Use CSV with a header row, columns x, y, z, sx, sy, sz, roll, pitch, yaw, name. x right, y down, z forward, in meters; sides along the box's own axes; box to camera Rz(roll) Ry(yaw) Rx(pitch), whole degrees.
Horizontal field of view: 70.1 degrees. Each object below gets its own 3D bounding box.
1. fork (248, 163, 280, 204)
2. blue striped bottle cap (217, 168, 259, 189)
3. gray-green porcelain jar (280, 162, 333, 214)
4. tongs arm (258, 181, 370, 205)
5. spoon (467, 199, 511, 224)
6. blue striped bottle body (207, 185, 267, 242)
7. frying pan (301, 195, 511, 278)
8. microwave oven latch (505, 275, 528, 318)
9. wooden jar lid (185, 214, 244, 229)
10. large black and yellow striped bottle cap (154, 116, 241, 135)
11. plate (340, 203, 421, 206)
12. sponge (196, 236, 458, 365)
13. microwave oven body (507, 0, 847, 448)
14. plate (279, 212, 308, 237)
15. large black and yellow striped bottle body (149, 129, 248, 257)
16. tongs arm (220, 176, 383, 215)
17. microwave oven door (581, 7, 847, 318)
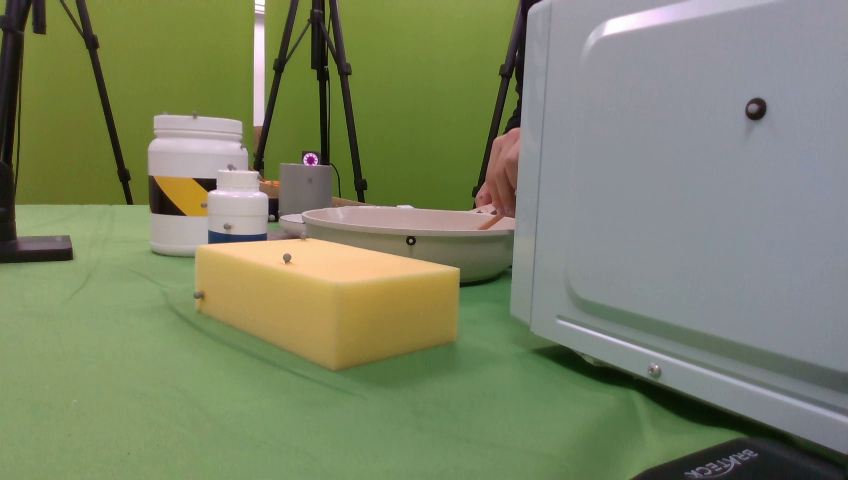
x,y,z,sx,sy,sz,roll,pitch,yaw,name
-0.396,-0.143,1.486,0.028,0.018,0.208,20,-26,45,fork
-0.202,-0.067,0.657,0.044,0.020,0.044,1,10,0,blue striped bottle cap
-0.238,-0.092,1.221,0.106,0.126,0.106,2,7,0,gray-green porcelain jar
-0.241,-0.095,1.373,0.387,0.026,0.050,9,0,-37,tongs arm
0.087,-0.034,0.716,0.193,0.021,0.042,-36,-30,32,spoon
-0.204,-0.016,0.663,0.063,0.120,0.063,2,7,0,blue striped bottle body
0.050,-0.028,0.864,0.305,0.102,0.490,8,18,35,frying pan
0.100,0.042,0.472,0.079,0.029,0.030,-2,8,-30,microwave oven latch
-0.404,-0.037,1.169,0.108,0.020,0.108,3,7,0,wooden jar lid
-0.314,-0.158,0.843,0.115,0.019,0.115,3,7,0,large black and yellow striped bottle cap
-0.089,-0.053,1.309,0.208,0.039,0.207,2,8,0,plate
-0.087,0.039,0.500,0.206,0.061,0.119,8,9,44,sponge
0.331,-0.042,0.425,0.444,0.260,0.324,-2,8,-31,microwave oven body
-0.139,-0.022,1.021,0.209,0.038,0.209,2,8,0,plate
-0.315,-0.075,0.854,0.131,0.184,0.130,2,7,0,large black and yellow striped bottle body
-0.285,-0.105,1.445,0.389,0.027,0.028,10,-4,-23,tongs arm
0.295,-0.067,0.569,0.358,0.243,0.039,-3,8,-31,microwave oven door
